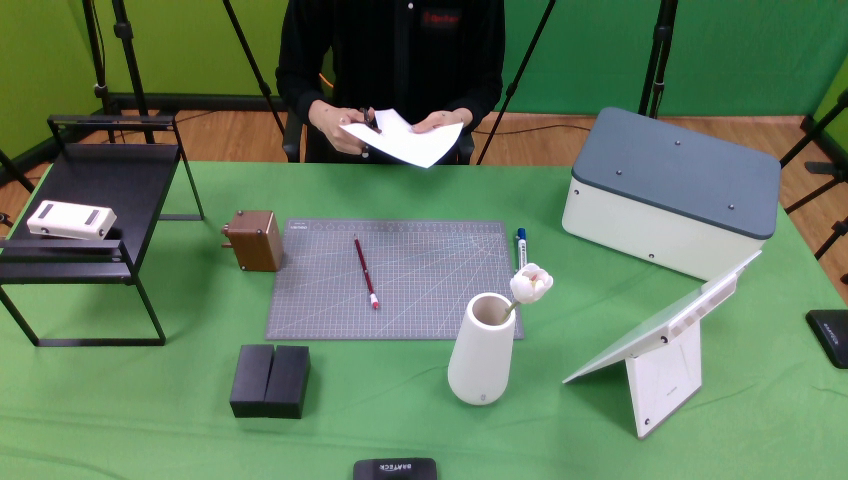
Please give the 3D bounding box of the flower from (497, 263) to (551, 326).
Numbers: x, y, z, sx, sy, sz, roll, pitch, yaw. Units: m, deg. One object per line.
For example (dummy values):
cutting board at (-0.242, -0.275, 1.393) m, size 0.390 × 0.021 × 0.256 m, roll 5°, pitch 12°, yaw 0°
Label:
flower at (0.102, 0.121, 0.853) m, size 0.044 × 0.363 × 0.038 m, roll -2°, pitch 64°, yaw -10°

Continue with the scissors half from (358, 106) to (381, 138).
scissors half at (-0.094, -0.198, 1.036) m, size 0.013 × 0.040 × 0.174 m, roll -7°, pitch 26°, yaw -14°

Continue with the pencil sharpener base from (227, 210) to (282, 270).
pencil sharpener base at (-0.311, 0.001, 1.112) m, size 0.077 × 0.107 × 0.061 m, roll 1°, pitch 47°, yaw 1°

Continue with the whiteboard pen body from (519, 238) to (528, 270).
whiteboard pen body at (0.193, 0.035, 1.180) m, size 0.017 × 0.017 × 0.140 m, roll 6°, pitch 48°, yaw 1°

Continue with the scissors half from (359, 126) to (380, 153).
scissors half at (-0.093, -0.177, 1.040) m, size 0.013 × 0.175 × 0.040 m, roll -2°, pitch 90°, yaw -15°

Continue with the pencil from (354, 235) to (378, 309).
pencil at (-0.113, 0.055, 1.143) m, size 0.012 × 0.012 × 0.192 m, roll -10°, pitch 46°, yaw -13°

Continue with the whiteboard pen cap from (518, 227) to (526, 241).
whiteboard pen cap at (0.197, -0.009, 1.220) m, size 0.018 × 0.018 × 0.033 m, roll 6°, pitch 51°, yaw 1°

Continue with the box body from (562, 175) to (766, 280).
box body at (0.486, -0.088, 1.222) m, size 0.363 × 0.161 × 0.253 m, roll 20°, pitch 48°, yaw 15°

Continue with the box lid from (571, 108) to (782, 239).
box lid at (0.491, -0.139, 1.168) m, size 0.370 × 0.015 × 0.262 m, roll 21°, pitch 49°, yaw 15°

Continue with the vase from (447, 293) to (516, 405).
vase at (0.091, 0.169, 0.921) m, size 0.098 × 0.201 × 0.097 m, roll 3°, pitch 47°, yaw -3°

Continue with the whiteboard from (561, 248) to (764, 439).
whiteboard at (0.386, 0.176, 0.905) m, size 0.217 × 0.306 × 0.143 m, roll -26°, pitch 72°, yaw -27°

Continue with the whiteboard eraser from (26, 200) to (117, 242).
whiteboard eraser at (-0.532, -0.026, 0.919) m, size 0.113 × 0.042 × 0.055 m, roll 7°, pitch 45°, yaw 3°

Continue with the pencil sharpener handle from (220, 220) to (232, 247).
pencil sharpener handle at (-0.362, -0.009, 1.105) m, size 0.030 × 0.068 × 0.036 m, roll 1°, pitch 52°, yaw 1°
